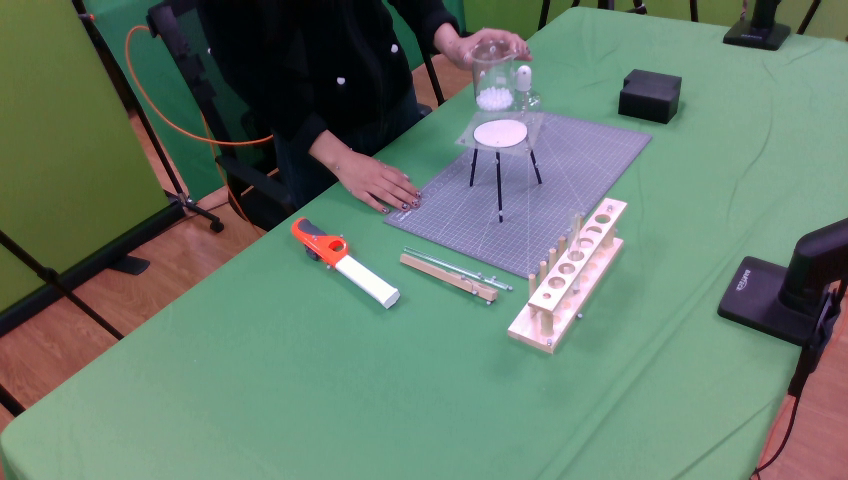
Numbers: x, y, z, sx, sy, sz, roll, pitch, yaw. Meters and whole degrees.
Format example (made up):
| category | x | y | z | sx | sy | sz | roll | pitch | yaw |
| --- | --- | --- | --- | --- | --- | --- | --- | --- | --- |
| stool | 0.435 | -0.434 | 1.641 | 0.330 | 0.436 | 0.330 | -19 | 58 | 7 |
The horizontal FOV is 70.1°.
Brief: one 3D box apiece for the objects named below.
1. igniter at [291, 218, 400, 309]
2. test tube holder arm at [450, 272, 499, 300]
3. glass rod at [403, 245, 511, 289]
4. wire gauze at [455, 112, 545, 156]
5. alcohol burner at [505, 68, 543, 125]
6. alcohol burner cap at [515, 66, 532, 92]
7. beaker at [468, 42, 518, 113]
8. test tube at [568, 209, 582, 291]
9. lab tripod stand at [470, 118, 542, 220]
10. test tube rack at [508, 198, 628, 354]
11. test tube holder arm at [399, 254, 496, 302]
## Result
| category | x | y | z | sx | sy | sz | roll | pitch | yaw |
| --- | --- | --- | --- | --- | --- | --- | --- | --- | --- |
| igniter | -0.136 | 0.031 | 0.970 | 0.057 | 0.025 | 0.274 | -41 | 49 | -19 |
| test tube holder arm | 0.071 | 0.068 | 0.895 | 0.087 | 0.015 | 0.010 | 21 | 16 | 32 |
| glass rod | 0.047 | 0.040 | 0.939 | 0.198 | 0.008 | 0.008 | 21 | 49 | 30 |
| wire gauze | 0.123 | -0.176 | 0.972 | 0.124 | 0.011 | 0.121 | 9 | 42 | 20 |
| alcohol burner | 0.201 | -0.293 | 1.216 | 0.078 | 0.119 | 0.077 | -4 | 41 | 4 |
| alcohol burner cap | 0.198 | -0.320 | 1.192 | 0.034 | 0.048 | 0.033 | -1 | 48 | 1 |
| beaker | 0.122 | -0.277 | 1.041 | 0.083 | 0.101 | 0.074 | 4 | 45 | 15 |
| test tube | 0.200 | 0.017 | 0.799 | 0.017 | 0.151 | 0.017 | -8 | 45 | 8 |
| lab tripod stand | 0.135 | -0.128 | 1.019 | 0.148 | 0.132 | 0.147 | -5 | 38 | 5 |
| test tube rack | 0.206 | 0.039 | 0.850 | 0.066 | 0.085 | 0.243 | 20 | 48 | 31 |
| test tube holder arm | 0.032 | 0.054 | 0.914 | 0.177 | 0.015 | 0.013 | 21 | 16 | 32 |
